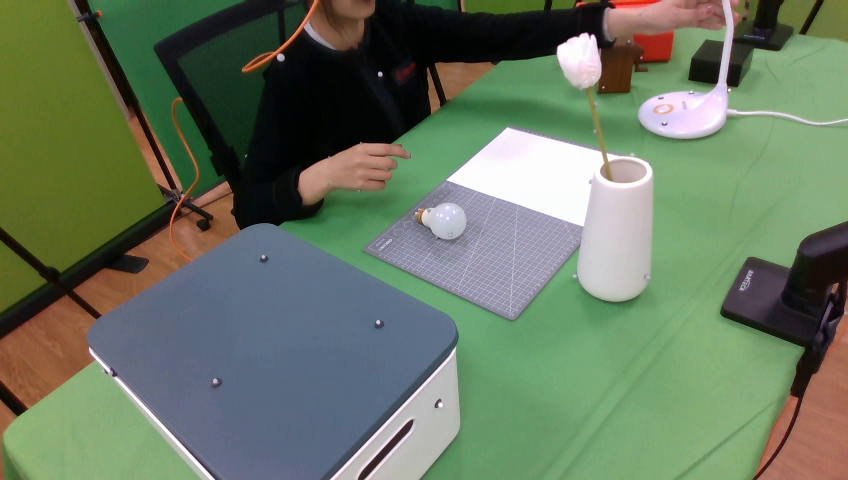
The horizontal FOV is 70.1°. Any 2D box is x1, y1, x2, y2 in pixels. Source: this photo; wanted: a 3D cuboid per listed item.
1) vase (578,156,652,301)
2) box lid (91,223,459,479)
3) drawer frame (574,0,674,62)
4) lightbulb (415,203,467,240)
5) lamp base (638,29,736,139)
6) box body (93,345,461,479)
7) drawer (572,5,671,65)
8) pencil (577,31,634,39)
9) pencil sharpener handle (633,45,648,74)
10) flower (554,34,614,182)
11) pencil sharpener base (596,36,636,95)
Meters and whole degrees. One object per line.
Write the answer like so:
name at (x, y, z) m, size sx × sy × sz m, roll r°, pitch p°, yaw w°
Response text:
vase at (0.261, -0.011, 0.812) m, size 0.098 × 0.201 × 0.097 m, roll -4°, pitch 40°, yaw 4°
box lid at (-0.174, 0.102, 0.666) m, size 0.368 × 0.015 × 0.264 m, roll 24°, pitch 48°, yaw 35°
drawer frame at (0.464, -0.492, 1.434) m, size 0.213 × 0.083 × 0.201 m, roll 1°, pitch 40°, yaw 12°
lightbulb at (0.024, -0.034, 0.999) m, size 0.060 × 0.060 × 0.107 m, roll -38°, pitch 32°, yaw -30°
lamp base at (0.501, -0.302, 1.125) m, size 0.179 × 0.181 × 0.160 m, roll -4°, pitch 40°, yaw 3°
box body at (-0.162, 0.170, 0.708) m, size 0.361 × 0.161 × 0.255 m, roll 25°, pitch 50°, yaw 34°
drawer at (0.461, -0.490, 1.435) m, size 0.211 × 0.073 × 0.194 m, roll 2°, pitch 41°, yaw 12°
pencil at (0.431, -0.488, 1.443) m, size 0.012 × 0.012 × 0.192 m, roll -25°, pitch 30°, yaw -18°
pencil sharpener handle at (0.454, -0.378, 1.262) m, size 0.030 × 0.068 × 0.036 m, roll 1°, pitch 46°, yaw 13°
flower at (0.237, -0.083, 0.774) m, size 0.044 × 0.363 × 0.038 m, roll -22°, pitch 26°, yaw 7°
pencil sharpener base at (0.406, -0.369, 1.280) m, size 0.076 × 0.107 × 0.061 m, roll 1°, pitch 41°, yaw 12°
